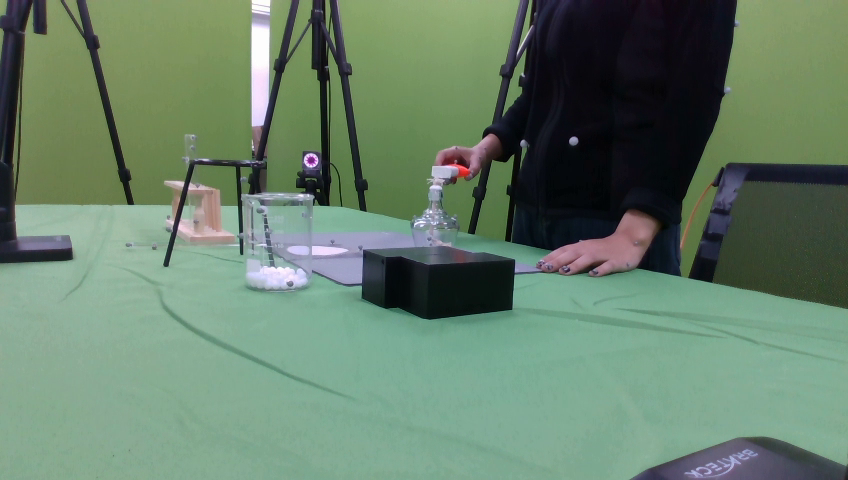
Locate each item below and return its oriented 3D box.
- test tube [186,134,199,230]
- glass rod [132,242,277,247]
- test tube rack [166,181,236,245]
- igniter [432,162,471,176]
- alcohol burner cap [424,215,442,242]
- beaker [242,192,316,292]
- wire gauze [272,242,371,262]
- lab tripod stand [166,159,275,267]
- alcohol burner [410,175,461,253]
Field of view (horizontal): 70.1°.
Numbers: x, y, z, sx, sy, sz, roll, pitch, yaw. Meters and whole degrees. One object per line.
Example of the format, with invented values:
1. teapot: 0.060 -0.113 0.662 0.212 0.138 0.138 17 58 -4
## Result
1. test tube: -0.360 -0.089 0.946 0.017 0.150 0.017 0 10 0
2. glass rod: -0.316 0.007 0.885 0.201 0.008 0.008 0 7 -27
3. test tube rack: -0.383 -0.051 1.024 0.067 0.085 0.241 -2 9 -31
4. igniter: 0.051 -0.125 1.075 0.057 0.025 0.277 7 8 9
5. alcohol burner cap: 0.017 -0.022 1.098 0.034 0.048 0.034 2 9 0
6. beaker: -0.157 0.000 0.642 0.084 0.100 0.074 4 7 19
7. wire gauze: -0.155 0.013 0.877 0.122 0.011 0.124 -3 10 -29
8. lab tripod stand: -0.249 -0.036 0.764 0.148 0.131 0.148 2 9 0
9. alcohol burner: 0.018 -0.040 0.931 0.078 0.119 0.078 0 7 0
